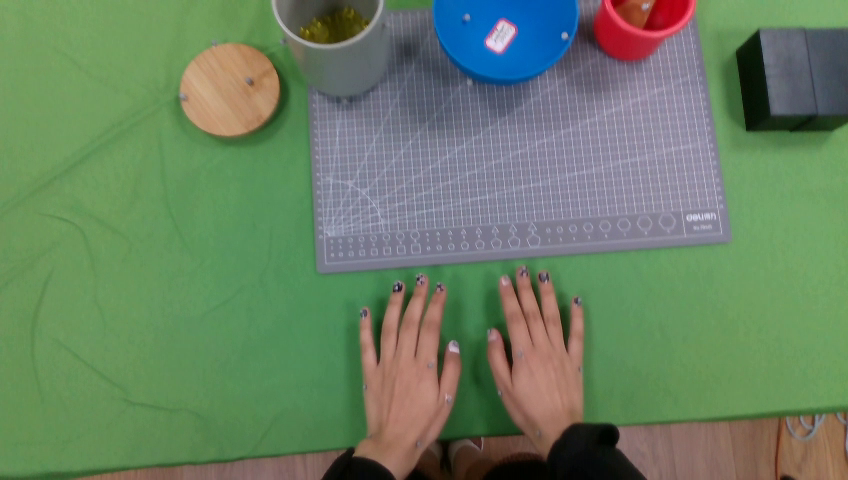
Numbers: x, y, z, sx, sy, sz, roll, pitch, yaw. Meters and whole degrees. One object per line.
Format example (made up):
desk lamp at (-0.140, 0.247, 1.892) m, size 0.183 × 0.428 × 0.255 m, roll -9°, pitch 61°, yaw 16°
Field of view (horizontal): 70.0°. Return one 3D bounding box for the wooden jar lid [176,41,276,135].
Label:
wooden jar lid at (-0.217, -0.166, 0.670) m, size 0.108 × 0.021 × 0.108 m, roll 0°, pitch 81°, yaw 0°

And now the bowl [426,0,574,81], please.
bowl at (0.078, -0.232, 0.651) m, size 0.151 × 0.077 × 0.151 m, roll 0°, pitch 81°, yaw 0°

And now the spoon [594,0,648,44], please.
spoon at (0.254, -0.283, 0.628) m, size 0.041 × 0.021 × 0.194 m, roll 50°, pitch 128°, yaw 7°

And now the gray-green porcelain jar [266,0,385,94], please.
gray-green porcelain jar at (-0.094, -0.218, 0.622) m, size 0.106 × 0.127 × 0.105 m, roll 0°, pitch 81°, yaw -1°
